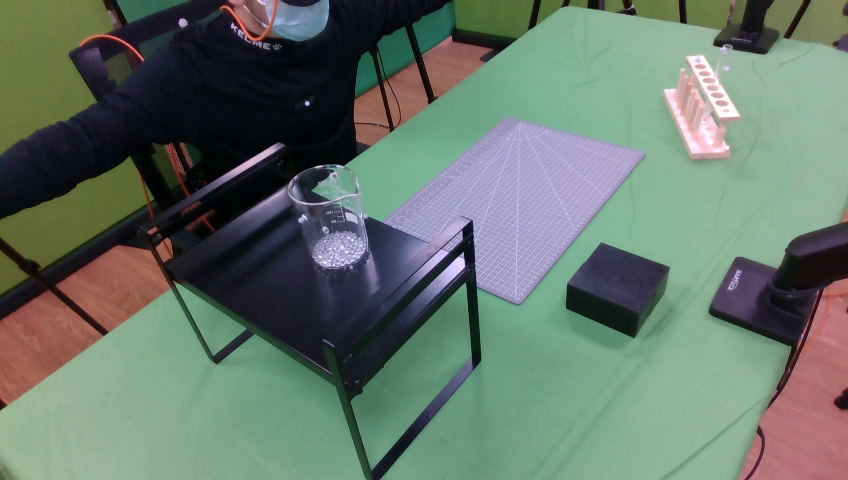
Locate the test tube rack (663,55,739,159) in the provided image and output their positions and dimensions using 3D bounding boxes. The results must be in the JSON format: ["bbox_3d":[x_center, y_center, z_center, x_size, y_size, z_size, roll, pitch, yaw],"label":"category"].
[{"bbox_3d":[0.517,-0.256,1.144,0.066,0.085,0.241,-1,41,8],"label":"test tube rack"}]

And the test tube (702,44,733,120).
[{"bbox_3d":[0.530,-0.282,1.096,0.017,0.151,0.017,-2,45,3],"label":"test tube"}]

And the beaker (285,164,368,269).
[{"bbox_3d":[-0.102,-0.024,0.676,0.083,0.101,0.074,8,43,17],"label":"beaker"}]
